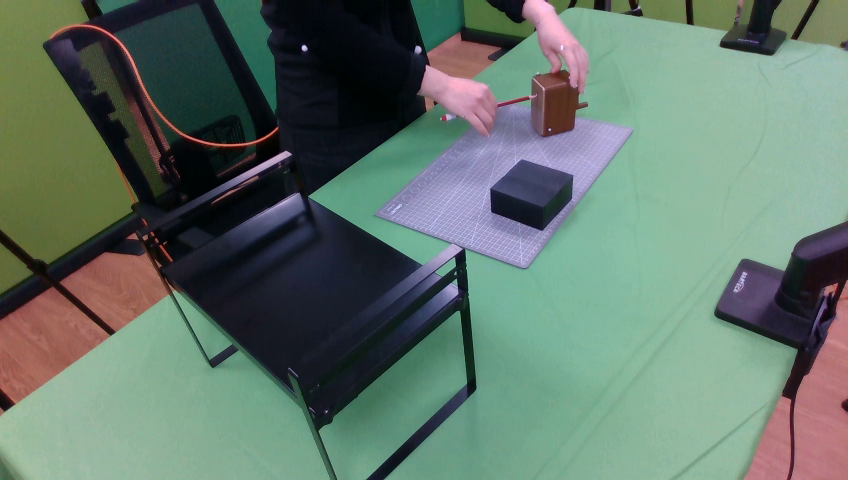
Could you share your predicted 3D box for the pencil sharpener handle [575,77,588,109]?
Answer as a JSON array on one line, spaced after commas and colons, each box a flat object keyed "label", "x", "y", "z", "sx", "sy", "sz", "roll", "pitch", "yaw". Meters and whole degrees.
[{"label": "pencil sharpener handle", "x": 0.304, "y": -0.290, "z": 1.177, "sx": 0.031, "sy": 0.068, "sz": 0.035, "roll": -15, "pitch": 37, "yaw": -8}]

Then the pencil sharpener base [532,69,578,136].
[{"label": "pencil sharpener base", "x": 0.256, "y": -0.268, "z": 1.178, "sx": 0.077, "sy": 0.107, "sz": 0.061, "roll": -15, "pitch": 41, "yaw": -8}]

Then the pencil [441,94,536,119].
[{"label": "pencil", "x": 0.123, "y": -0.256, "z": 1.147, "sx": 0.194, "sy": 0.012, "sz": 0.012, "roll": -16, "pitch": 41, "yaw": -10}]
